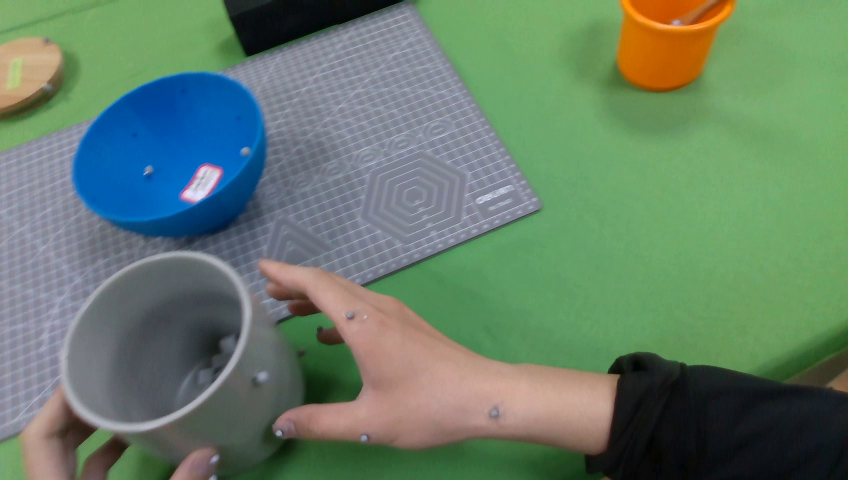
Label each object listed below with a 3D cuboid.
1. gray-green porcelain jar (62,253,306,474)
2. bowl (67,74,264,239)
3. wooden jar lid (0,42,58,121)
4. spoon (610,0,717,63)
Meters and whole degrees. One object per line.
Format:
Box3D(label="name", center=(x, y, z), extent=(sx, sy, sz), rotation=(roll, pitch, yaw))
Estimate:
Box3D(label="gray-green porcelain jar", center=(-0.137, 0.084, 0.380), extent=(0.106, 0.128, 0.105), rotation=(-4, 57, 6))
Box3D(label="bowl", center=(-0.196, -0.055, 0.499), extent=(0.151, 0.077, 0.150), rotation=(-3, 58, 6))
Box3D(label="wooden jar lid", center=(-0.436, -0.166, 0.638), extent=(0.108, 0.021, 0.107), rotation=(-2, 58, 4))
Box3D(label="spoon", center=(0.236, -0.194, 0.489), extent=(0.022, 0.193, 0.041), rotation=(35, 57, -23))
